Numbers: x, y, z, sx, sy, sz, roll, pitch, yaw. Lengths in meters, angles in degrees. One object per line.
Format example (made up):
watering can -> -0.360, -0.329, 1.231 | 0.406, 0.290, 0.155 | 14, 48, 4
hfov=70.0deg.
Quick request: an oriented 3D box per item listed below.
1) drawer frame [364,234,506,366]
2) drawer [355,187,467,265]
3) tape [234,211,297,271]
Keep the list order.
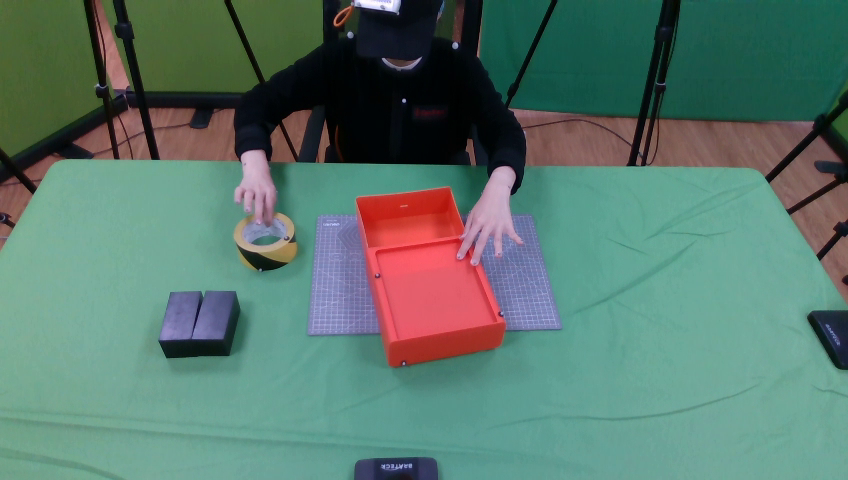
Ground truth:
drawer frame -> 0.013, 0.097, 1.058 | 0.202, 0.083, 0.212 | -8, 48, -13
drawer -> -0.020, -0.001, 1.154 | 0.195, 0.073, 0.210 | -7, 47, -11
tape -> -0.301, 0.002, 1.154 | 0.117, 0.053, 0.116 | 1, 46, -1
